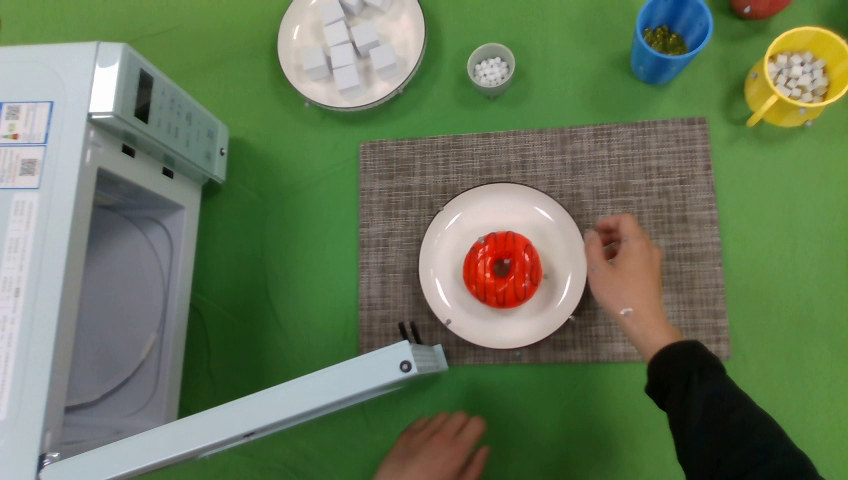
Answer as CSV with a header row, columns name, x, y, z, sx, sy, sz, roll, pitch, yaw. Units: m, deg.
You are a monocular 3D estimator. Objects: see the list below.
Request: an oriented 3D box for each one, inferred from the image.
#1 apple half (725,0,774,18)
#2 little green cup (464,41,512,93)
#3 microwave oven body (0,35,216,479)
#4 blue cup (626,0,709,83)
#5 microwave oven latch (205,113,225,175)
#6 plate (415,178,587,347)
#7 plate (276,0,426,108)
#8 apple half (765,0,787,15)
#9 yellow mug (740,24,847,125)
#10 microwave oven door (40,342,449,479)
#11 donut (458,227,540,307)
name,x,y,z,sx,sy,sz,roll,pitch,yaw
apple half,0.402,-0.320,0.754,0.053,0.075,0.080,3,83,12
little green cup,0.085,-0.226,0.800,0.061,0.039,0.061,-1,80,8
microwave oven body,-0.453,0.026,0.712,0.325,0.261,0.440,0,81,8
blue cup,0.288,-0.241,0.742,0.092,0.100,0.092,-1,81,7
microwave oven latch,-0.287,-0.129,0.815,0.030,0.029,0.079,2,81,8
plate,0.094,0.028,0.750,0.209,0.038,0.208,-1,80,8
plate,-0.099,-0.276,0.834,0.207,0.039,0.207,-1,80,8
apple half,0.441,-0.318,0.747,0.032,0.082,0.081,3,80,12
yellow mug,0.434,-0.187,0.730,0.131,0.064,0.099,-44,77,0
microwave oven door,-0.158,0.178,0.639,0.356,0.245,0.039,-20,76,4
donut,0.091,0.032,0.738,0.099,0.048,0.098,-1,83,9
